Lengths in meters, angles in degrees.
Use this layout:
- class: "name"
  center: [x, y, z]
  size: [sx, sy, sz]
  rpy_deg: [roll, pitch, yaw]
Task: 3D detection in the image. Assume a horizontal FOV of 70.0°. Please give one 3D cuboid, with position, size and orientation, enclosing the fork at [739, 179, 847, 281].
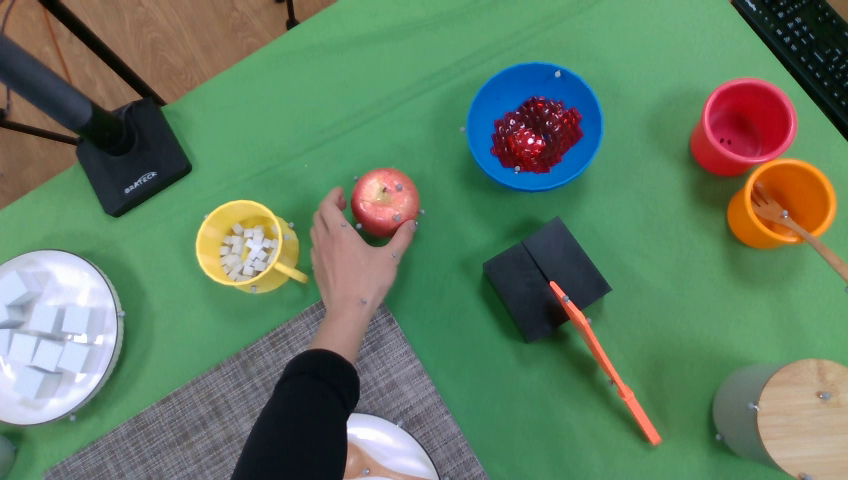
- class: "fork"
  center: [0.385, -0.006, 0.614]
  size: [0.028, 0.019, 0.205]
  rpy_deg: [-10, 34, -3]

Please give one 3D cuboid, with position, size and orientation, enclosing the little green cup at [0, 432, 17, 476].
- class: "little green cup"
  center: [-0.515, 0.253, 0.708]
  size: [0.061, 0.039, 0.061]
  rpy_deg: [-1, 79, 4]

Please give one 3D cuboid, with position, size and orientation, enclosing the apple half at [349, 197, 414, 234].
- class: "apple half"
  center: [-0.050, -0.022, 0.699]
  size: [0.081, 0.082, 0.032]
  rpy_deg: [10, 78, 8]

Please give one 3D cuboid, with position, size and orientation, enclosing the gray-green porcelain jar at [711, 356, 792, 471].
- class: "gray-green porcelain jar"
  center: [0.353, 0.168, 0.596]
  size: [0.106, 0.127, 0.105]
  rpy_deg: [-1, 78, 5]

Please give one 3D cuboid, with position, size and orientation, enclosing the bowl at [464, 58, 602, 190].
- class: "bowl"
  center: [0.122, -0.122, 0.699]
  size: [0.151, 0.077, 0.150]
  rpy_deg: [-1, 79, 6]

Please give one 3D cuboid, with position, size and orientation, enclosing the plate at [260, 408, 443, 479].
- class: "plate"
  center: [-0.077, 0.288, 0.657]
  size: [0.209, 0.038, 0.208]
  rpy_deg: [-1, 79, 5]

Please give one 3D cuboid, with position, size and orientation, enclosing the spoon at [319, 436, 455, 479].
- class: "spoon"
  center: [-0.022, 0.248, 0.646]
  size: [0.193, 0.022, 0.041]
  rpy_deg: [8, 74, 19]

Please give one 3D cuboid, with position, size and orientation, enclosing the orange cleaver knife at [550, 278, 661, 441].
- class: "orange cleaver knife"
  center: [0.191, 0.127, 0.638]
  size: [0.012, 0.076, 0.213]
  rpy_deg: [-34, 110, 2]

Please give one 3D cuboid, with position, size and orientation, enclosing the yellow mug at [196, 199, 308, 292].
- class: "yellow mug"
  center: [-0.193, 0.015, 0.710]
  size: [0.130, 0.064, 0.100]
  rpy_deg: [28, 82, 9]

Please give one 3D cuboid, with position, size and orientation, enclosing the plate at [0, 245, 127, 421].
- class: "plate"
  center: [-0.454, 0.111, 0.732]
  size: [0.207, 0.039, 0.206]
  rpy_deg: [-1, 79, 6]

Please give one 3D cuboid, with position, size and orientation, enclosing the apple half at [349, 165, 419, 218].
- class: "apple half"
  center: [-0.043, -0.058, 0.706]
  size: [0.080, 0.075, 0.053]
  rpy_deg: [8, 76, 11]

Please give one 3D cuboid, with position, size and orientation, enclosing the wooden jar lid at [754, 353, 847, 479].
- class: "wooden jar lid"
  center: [0.346, 0.155, 0.536]
  size: [0.108, 0.021, 0.108]
  rpy_deg: [-1, 81, 4]
